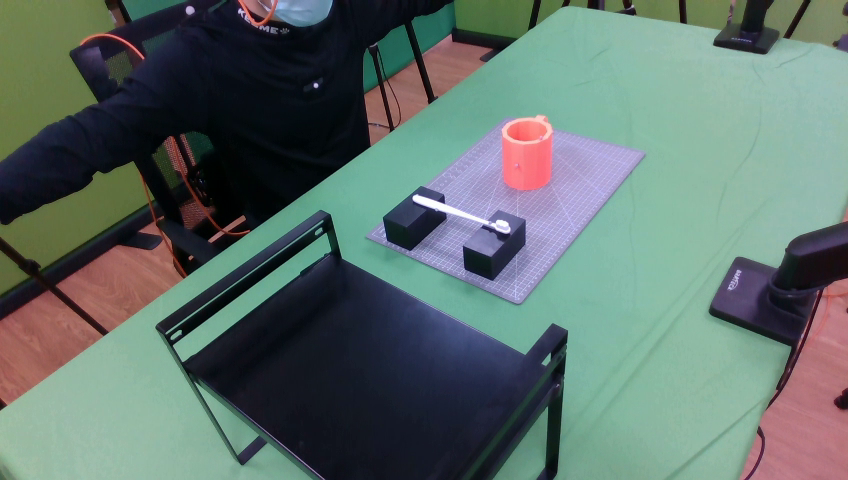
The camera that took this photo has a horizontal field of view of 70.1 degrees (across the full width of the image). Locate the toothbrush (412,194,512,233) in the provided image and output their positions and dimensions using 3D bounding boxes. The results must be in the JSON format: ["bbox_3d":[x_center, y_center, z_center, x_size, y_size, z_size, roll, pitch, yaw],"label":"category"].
[{"bbox_3d":[0.055,-0.044,0.936,0.180,0.017,0.014,20,63,30],"label":"toothbrush"}]

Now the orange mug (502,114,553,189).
[{"bbox_3d":[0.190,-0.164,1.071,0.083,0.101,0.126,16,50,25],"label":"orange mug"}]
